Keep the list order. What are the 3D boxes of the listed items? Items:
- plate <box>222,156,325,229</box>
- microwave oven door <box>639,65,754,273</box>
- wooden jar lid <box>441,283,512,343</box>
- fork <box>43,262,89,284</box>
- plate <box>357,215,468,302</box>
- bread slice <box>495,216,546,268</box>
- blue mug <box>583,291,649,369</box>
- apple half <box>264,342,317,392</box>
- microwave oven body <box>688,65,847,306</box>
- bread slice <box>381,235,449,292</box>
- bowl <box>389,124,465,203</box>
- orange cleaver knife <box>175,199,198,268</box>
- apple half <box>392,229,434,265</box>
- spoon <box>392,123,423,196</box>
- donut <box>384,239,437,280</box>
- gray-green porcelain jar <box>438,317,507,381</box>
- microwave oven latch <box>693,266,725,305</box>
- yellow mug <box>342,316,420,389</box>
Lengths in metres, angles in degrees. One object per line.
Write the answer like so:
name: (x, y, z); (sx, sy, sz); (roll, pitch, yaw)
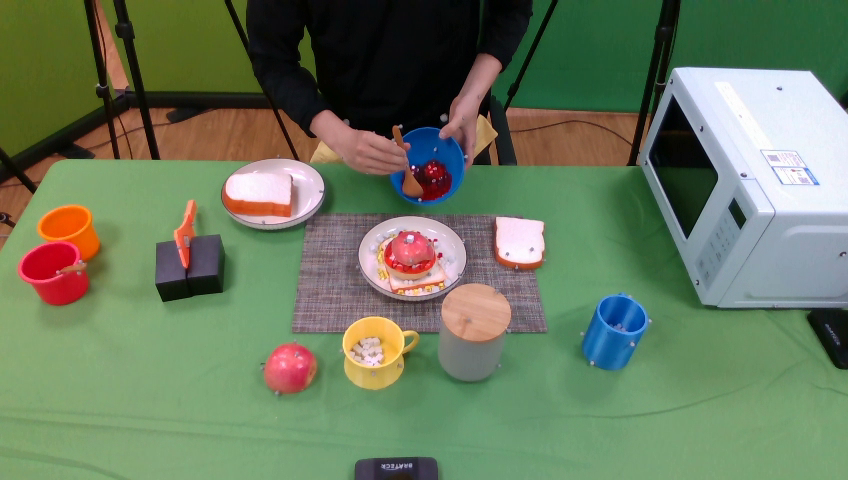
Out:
plate: (-0.308, -0.095, 1.251); (0.209, 0.038, 0.208); (3, 47, -3)
microwave oven door: (0.522, -0.147, 1.193); (0.039, 0.245, 0.353); (0, 47, -3)
wooden jar lid: (0.080, 0.114, 0.931); (0.108, 0.021, 0.107); (1, 49, -1)
fork: (-0.599, 0.053, 1.013); (0.207, 0.019, 0.028); (-14, 30, 45)
plate: (-0.022, 0.037, 1.141); (0.208, 0.039, 0.206); (2, 46, -2)
bread slice: (0.194, 0.002, 1.204); (0.105, 0.019, 0.131); (5, 45, 2)
blue mug: (0.324, 0.142, 1.023); (0.082, 0.106, 0.116); (15, 47, 11)
apple half: (-0.214, 0.198, 0.970); (0.074, 0.053, 0.080); (19, 48, 10)
microwave oven body: (0.669, -0.111, 1.176); (0.326, 0.261, 0.439); (0, 46, -3)
bread slice: (-0.027, 0.040, 1.141); (0.107, 0.018, 0.133); (-12, 49, -16)
bowl: (0.014, -0.143, 1.181); (0.151, 0.077, 0.151); (-1, 88, 15)
orange cleaver knife: (-0.438, -0.017, 1.138); (0.012, 0.077, 0.210); (-14, 27, -7)
apple half: (-0.021, 0.005, 1.083); (0.081, 0.033, 0.081); (7, 49, -7)
spoon: (-0.034, -0.141, 1.092); (0.041, 0.195, 0.021); (0, 52, 12)
donut: (-0.025, 0.030, 1.110); (0.099, 0.048, 0.098); (3, 46, -3)
gray-green porcelain jar: (0.076, 0.158, 0.977); (0.106, 0.127, 0.105); (2, 47, -2)
microwave oven latch: (0.523, 0.082, 1.115); (0.030, 0.029, 0.078); (3, 46, 0)
yellow mug: (-0.067, 0.178, 0.991); (0.131, 0.064, 0.099); (-16, 50, -19)
